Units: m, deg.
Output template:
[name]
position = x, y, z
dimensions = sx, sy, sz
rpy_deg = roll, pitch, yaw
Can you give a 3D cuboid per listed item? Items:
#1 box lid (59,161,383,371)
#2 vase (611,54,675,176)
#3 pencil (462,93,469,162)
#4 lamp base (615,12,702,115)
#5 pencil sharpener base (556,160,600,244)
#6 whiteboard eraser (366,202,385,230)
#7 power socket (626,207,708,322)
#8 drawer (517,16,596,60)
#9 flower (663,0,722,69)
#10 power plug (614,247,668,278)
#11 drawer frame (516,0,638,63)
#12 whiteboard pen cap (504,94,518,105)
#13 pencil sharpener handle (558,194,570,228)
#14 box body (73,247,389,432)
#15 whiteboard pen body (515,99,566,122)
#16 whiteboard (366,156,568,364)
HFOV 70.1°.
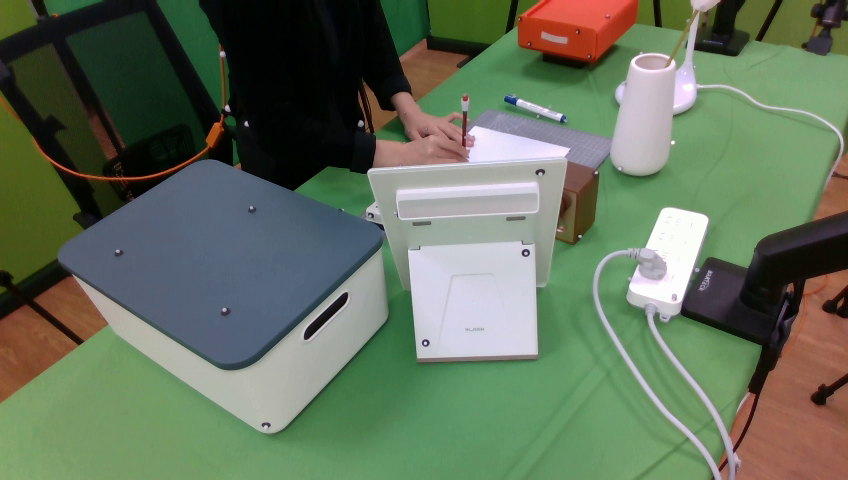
[box lid]
position = -0.262, 0.010, 0.777
dimensions = 0.369, 0.015, 0.264
rpy_deg = 21, 48, 29
[vase]
position = 0.377, -0.209, 1.031
dimensions = 0.098, 0.201, 0.097
rpy_deg = -3, 40, 3
[pencil]
position = 0.069, -0.170, 1.028
dimensions = 0.012, 0.195, 0.012
rpy_deg = -1, 52, 2
[lamp base]
position = 0.484, -0.363, 1.211
dimensions = 0.180, 0.181, 0.159
rpy_deg = -15, 41, -14
[pencil sharpener base]
position = 0.228, -0.057, 0.945
dimensions = 0.061, 0.107, 0.077
rpy_deg = 24, 50, 31
[whiteboard eraser]
position = -0.037, -0.038, 1.006
dimensions = 0.112, 0.042, 0.055
rpy_deg = 16, 47, 25
[power socket]
position = 0.359, 0.026, 0.886
dimensions = 0.072, 0.033, 0.227
rpy_deg = 16, 46, 26
[drawer]
position = 0.352, -0.506, 1.405
dimensions = 0.193, 0.073, 0.212
rpy_deg = 23, 49, 32
[flower]
position = 0.379, -0.261, 0.965
dimensions = 0.044, 0.362, 0.038
rpy_deg = 20, 53, 5
[power plug]
position = 0.306, 0.031, 0.851
dimensions = 0.072, 0.053, 0.035
rpy_deg = 24, 49, 33
[drawer frame]
position = 0.355, -0.508, 1.411
dimensions = 0.200, 0.083, 0.214
rpy_deg = 23, 51, 32
[whiteboard pen cap]
position = 0.190, -0.299, 1.292
dimensions = 0.033, 0.018, 0.018
rpy_deg = 30, 52, 28
[pencil sharpener handle]
position = 0.195, -0.038, 0.908
dimensions = 0.035, 0.068, 0.031
rpy_deg = 24, 50, 30
[box body]
position = -0.255, 0.065, 0.827
dimensions = 0.361, 0.161, 0.255
rpy_deg = 21, 48, 29
[whiteboard pen body]
position = 0.234, -0.274, 1.262
dimensions = 0.139, 0.017, 0.017
rpy_deg = 28, 51, 29
[whiteboard]
position = 0.059, 0.050, 0.738
dimensions = 0.217, 0.307, 0.143
rpy_deg = -2, 60, 6
